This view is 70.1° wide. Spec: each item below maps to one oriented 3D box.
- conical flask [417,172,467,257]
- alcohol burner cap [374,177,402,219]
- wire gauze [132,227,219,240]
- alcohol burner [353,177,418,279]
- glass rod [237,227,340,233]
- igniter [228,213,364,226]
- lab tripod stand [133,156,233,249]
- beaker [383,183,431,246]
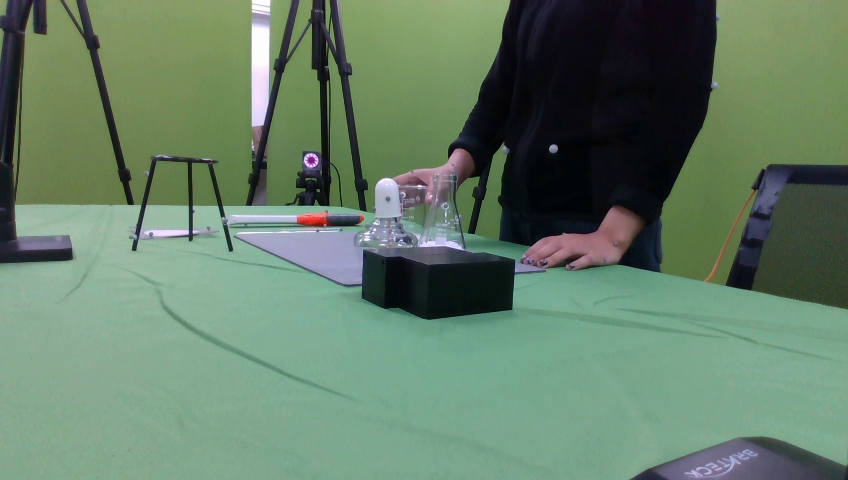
[{"bbox_3d":[0.029,-0.039,0.897,0.075,0.122,0.075,3,8,0],"label":"conical flask"},{"bbox_3d":[-0.044,-0.049,0.704,0.034,0.048,0.034,-5,10,1],"label":"alcohol burner cap"},{"bbox_3d":[-0.421,-0.014,1.024,0.122,0.011,0.124,-2,7,-34],"label":"wire gauze"},{"bbox_3d":[-0.044,-0.014,0.710,0.078,0.119,0.078,4,9,0],"label":"alcohol burner"},{"bbox_3d":[-0.247,-0.020,1.123,0.201,0.008,0.008,-2,8,-34],"label":"glass rod"},{"bbox_3d":[-0.252,-0.042,1.226,0.278,0.025,0.057,-3,-2,-32],"label":"igniter"},{"bbox_3d":[-0.342,-0.054,0.878,0.148,0.131,0.148,4,6,0],"label":"lab tripod stand"},{"bbox_3d":[-0.033,-0.043,1.000,0.084,0.100,0.074,5,7,16],"label":"beaker"}]
